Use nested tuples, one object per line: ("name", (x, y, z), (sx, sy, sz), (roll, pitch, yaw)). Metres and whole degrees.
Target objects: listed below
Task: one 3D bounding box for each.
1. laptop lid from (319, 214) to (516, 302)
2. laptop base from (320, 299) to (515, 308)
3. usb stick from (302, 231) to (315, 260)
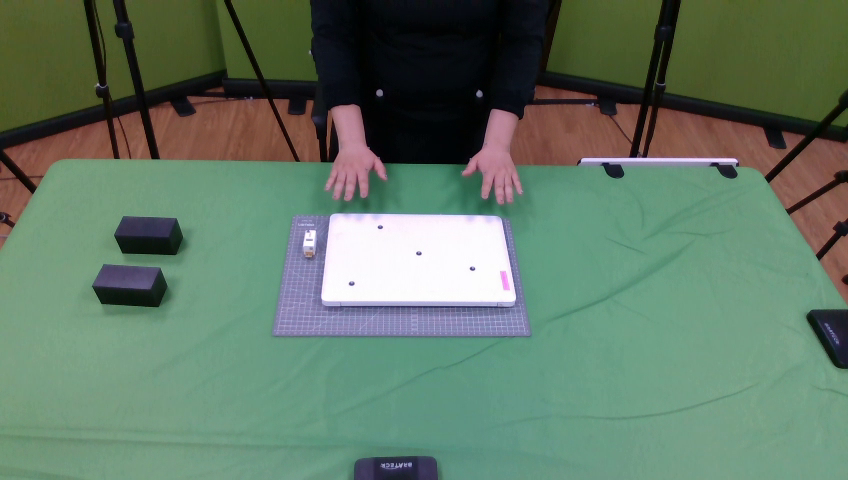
("laptop lid", (-0.013, 0.029, 1.154), (0.357, 0.013, 0.240), (2, 43, -3))
("laptop base", (-0.013, 0.039, 1.160), (0.355, 0.023, 0.234), (0, 43, -4))
("usb stick", (-0.223, 0.011, 1.163), (0.021, 0.027, 0.059), (4, 49, -6))
